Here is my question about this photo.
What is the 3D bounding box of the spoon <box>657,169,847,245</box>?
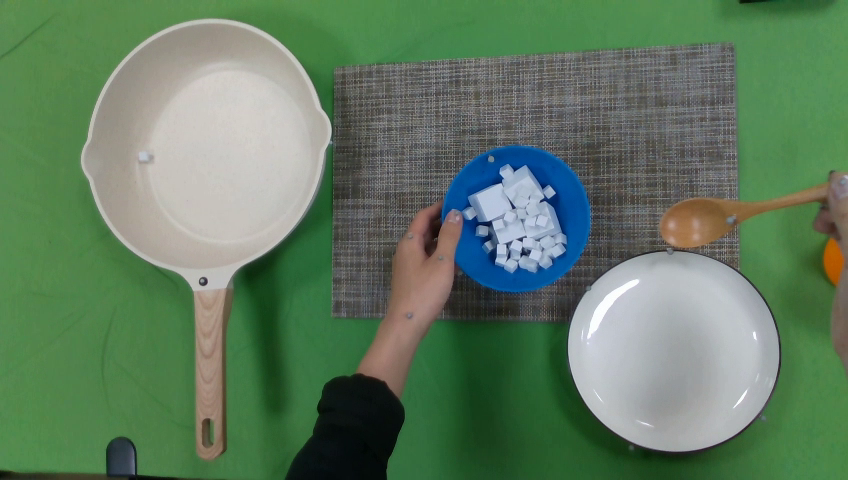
[{"bbox_3d":[0.266,-0.032,0.450,0.193,0.022,0.041,-19,92,50],"label":"spoon"}]

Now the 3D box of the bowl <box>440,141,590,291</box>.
[{"bbox_3d":[0.097,-0.021,0.644,0.151,0.077,0.151,0,88,10],"label":"bowl"}]

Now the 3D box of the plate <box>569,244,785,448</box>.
[{"bbox_3d":[0.257,0.108,0.632,0.207,0.039,0.207,0,89,10],"label":"plate"}]

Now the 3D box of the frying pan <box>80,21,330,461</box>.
[{"bbox_3d":[-0.243,-0.003,0.693,0.306,0.103,0.485,-5,78,10],"label":"frying pan"}]
